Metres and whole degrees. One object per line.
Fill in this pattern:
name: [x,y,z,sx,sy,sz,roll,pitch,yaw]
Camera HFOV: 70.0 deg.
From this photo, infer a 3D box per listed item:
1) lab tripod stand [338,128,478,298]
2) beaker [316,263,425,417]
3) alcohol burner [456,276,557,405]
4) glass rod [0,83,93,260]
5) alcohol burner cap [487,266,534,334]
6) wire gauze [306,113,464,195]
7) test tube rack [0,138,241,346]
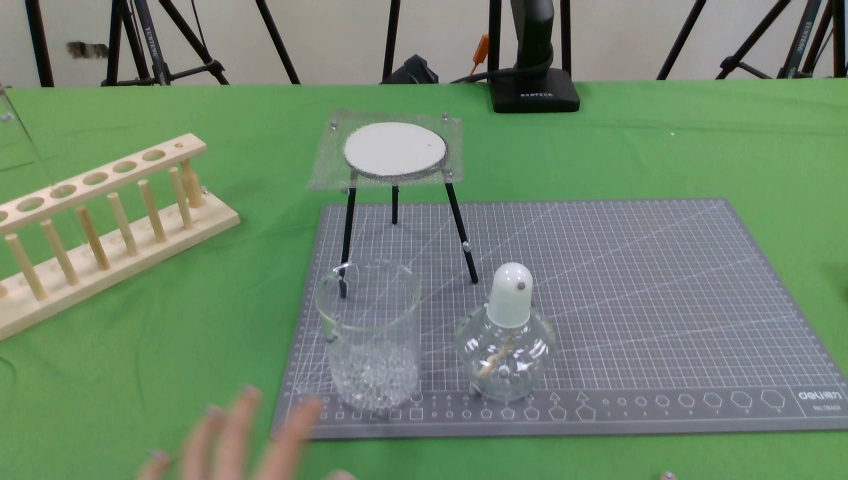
lab tripod stand: [-0.018,-0.024,0.552,0.148,0.132,0.147,1,38,0]
beaker: [-0.040,0.076,0.455,0.083,0.101,0.074,30,48,34]
alcohol burner: [0.062,0.068,0.452,0.078,0.120,0.077,0,41,0]
glass rod: [-0.341,-0.062,0.542,0.008,0.201,0.008,-5,36,4]
alcohol burner cap: [0.063,0.040,0.429,0.034,0.048,0.033,2,40,-1]
wire gauze: [-0.028,-0.075,0.508,0.121,0.011,0.124,1,39,1]
test tube rack: [-0.306,-0.007,0.579,0.242,0.086,0.066,-32,48,-33]
